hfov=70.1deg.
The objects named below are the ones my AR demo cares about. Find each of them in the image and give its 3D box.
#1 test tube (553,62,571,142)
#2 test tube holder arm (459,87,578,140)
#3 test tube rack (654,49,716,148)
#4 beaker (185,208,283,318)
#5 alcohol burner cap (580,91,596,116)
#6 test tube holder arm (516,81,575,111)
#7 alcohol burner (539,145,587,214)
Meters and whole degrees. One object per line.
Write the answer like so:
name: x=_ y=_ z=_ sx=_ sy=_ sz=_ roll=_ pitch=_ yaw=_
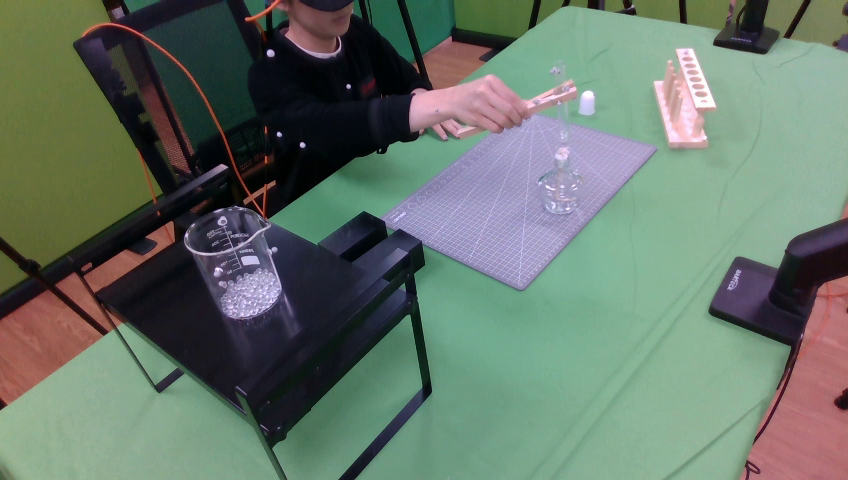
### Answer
test tube: x=0.202 y=-0.196 z=0.878 sx=0.017 sy=0.151 sz=0.017 roll=-9 pitch=54 yaw=13
test tube holder arm: x=0.135 y=-0.183 z=0.877 sx=0.178 sy=0.015 sz=0.013 roll=-19 pitch=48 yaw=16
test tube rack: x=0.502 y=-0.281 z=1.176 sx=0.066 sy=0.085 sz=0.241 roll=1 pitch=41 yaw=11
beaker: x=-0.192 y=0.026 z=0.637 sx=0.084 sy=0.101 sz=0.073 roll=-13 pitch=41 yaw=-7
alcohol burner cap: x=0.338 y=-0.283 z=1.239 sx=0.034 sy=0.048 sz=0.033 roll=-4 pitch=42 yaw=4
test tube holder arm: x=0.174 y=-0.203 z=0.870 sx=0.087 sy=0.015 sz=0.010 roll=-25 pitch=47 yaw=11
alcohol burner: x=0.226 y=-0.103 z=0.985 sx=0.078 sy=0.119 sz=0.077 roll=-6 pitch=41 yaw=6
